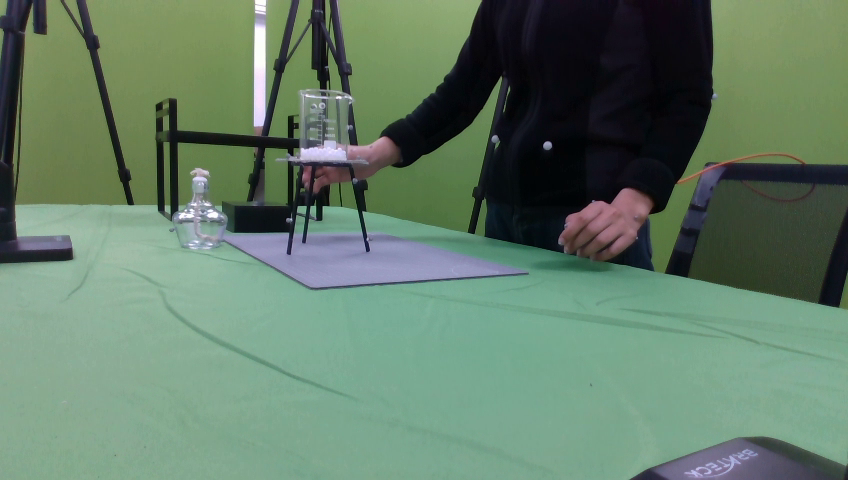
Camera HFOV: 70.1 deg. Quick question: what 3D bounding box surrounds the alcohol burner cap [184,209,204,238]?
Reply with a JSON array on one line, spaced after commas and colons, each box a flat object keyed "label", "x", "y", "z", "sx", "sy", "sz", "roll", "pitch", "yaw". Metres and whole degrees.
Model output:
[{"label": "alcohol burner cap", "x": -0.390, "y": -0.029, "z": 1.026, "sx": 0.034, "sy": 0.048, "sz": 0.034, "roll": 2, "pitch": 9, "yaw": 0}]

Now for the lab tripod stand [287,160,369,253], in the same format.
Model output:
[{"label": "lab tripod stand", "x": -0.157, "y": -0.053, "z": 0.902, "sx": 0.148, "sy": 0.131, "sz": 0.148, "roll": 0, "pitch": 7, "yaw": 0}]

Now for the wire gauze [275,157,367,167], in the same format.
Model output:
[{"label": "wire gauze", "x": -0.148, "y": -0.117, "z": 0.895, "sx": 0.121, "sy": 0.011, "sz": 0.125, "roll": 3, "pitch": 5, "yaw": -3}]

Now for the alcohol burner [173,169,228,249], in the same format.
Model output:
[{"label": "alcohol burner", "x": -0.333, "y": -0.047, "z": 0.903, "sx": 0.078, "sy": 0.119, "sz": 0.078, "roll": 1, "pitch": 6, "yaw": 0}]

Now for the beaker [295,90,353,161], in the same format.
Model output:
[{"label": "beaker", "x": -0.146, "y": -0.164, "z": 0.884, "sx": 0.084, "sy": 0.100, "sz": 0.074, "roll": 1, "pitch": 7, "yaw": -6}]
